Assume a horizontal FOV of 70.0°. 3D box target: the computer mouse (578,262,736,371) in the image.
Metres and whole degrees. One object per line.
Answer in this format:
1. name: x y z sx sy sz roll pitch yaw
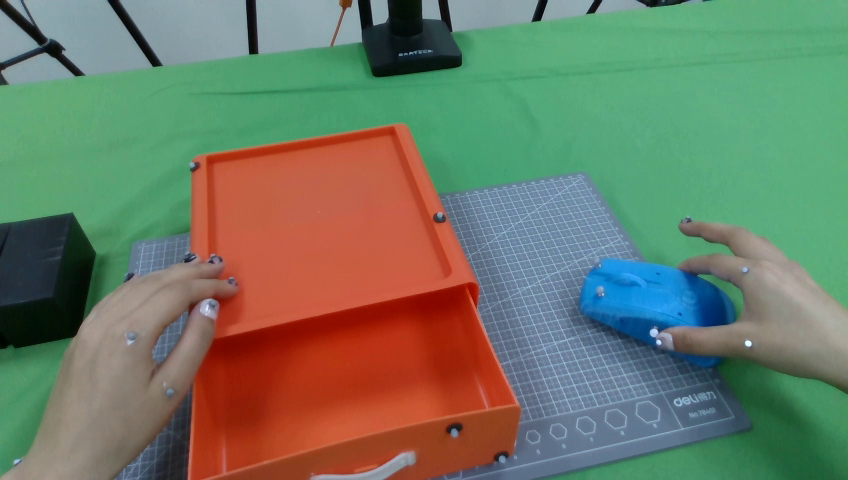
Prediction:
1. computer mouse: 0.183 0.054 0.476 0.116 0.041 0.062 21 50 22

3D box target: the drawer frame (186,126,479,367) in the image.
1. drawer frame: -0.083 0.008 0.501 0.202 0.083 0.211 -12 45 -10

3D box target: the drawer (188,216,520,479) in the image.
1. drawer: -0.059 0.074 0.436 0.195 0.074 0.209 -11 45 -9
